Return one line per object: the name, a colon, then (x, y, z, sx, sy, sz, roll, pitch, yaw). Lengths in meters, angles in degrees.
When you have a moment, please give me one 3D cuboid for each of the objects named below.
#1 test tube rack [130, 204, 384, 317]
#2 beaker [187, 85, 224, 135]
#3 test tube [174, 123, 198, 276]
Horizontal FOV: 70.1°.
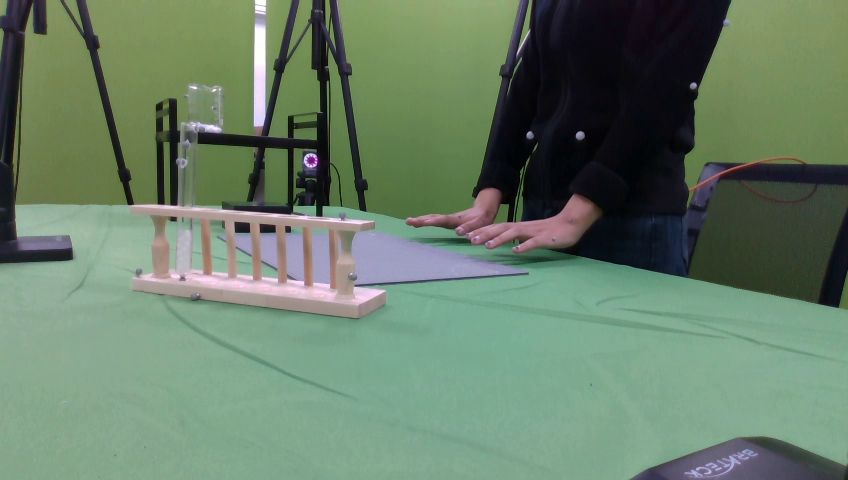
test tube rack: (-0.162, 0.013, 0.589, 0.242, 0.085, 0.067, 5, 8, 17)
beaker: (-0.466, -0.276, 1.296, 0.074, 0.100, 0.083, -3, 10, -35)
test tube: (-0.232, -0.038, 0.588, 0.017, 0.150, 0.017, 6, 9, -1)
